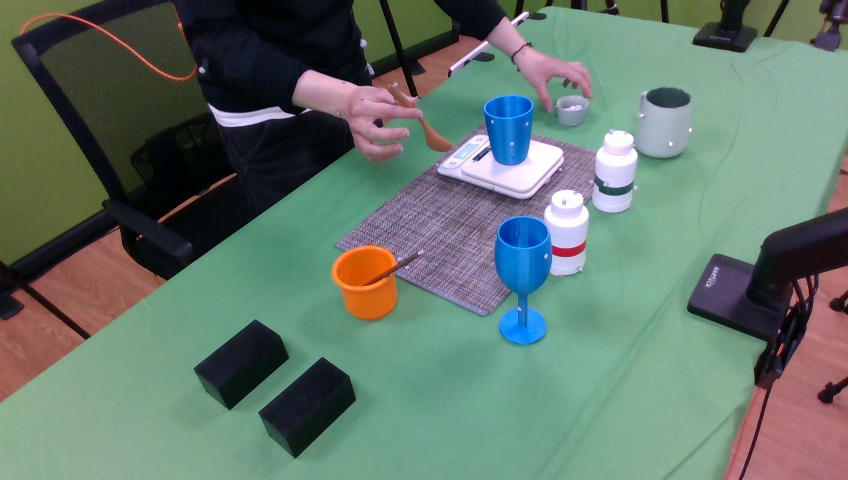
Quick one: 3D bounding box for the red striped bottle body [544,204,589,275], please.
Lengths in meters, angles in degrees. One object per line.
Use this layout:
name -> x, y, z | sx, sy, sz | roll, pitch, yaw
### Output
red striped bottle body -> 0.206, -0.011, 0.877 | 0.063, 0.120, 0.062 | -5, 41, 4

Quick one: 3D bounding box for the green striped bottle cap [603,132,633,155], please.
green striped bottle cap -> 0.301, -0.149, 0.938 | 0.044, 0.020, 0.044 | -3, 39, 3

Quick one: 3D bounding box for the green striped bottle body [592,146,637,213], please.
green striped bottle body -> 0.307, -0.108, 0.976 | 0.063, 0.120, 0.063 | -4, 41, 4

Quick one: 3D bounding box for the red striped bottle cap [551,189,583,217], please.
red striped bottle cap -> 0.199, -0.052, 0.843 | 0.044, 0.018, 0.044 | -2, 42, 2

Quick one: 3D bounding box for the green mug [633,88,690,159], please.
green mug -> 0.423, -0.217, 1.099 | 0.093, 0.105, 0.124 | -16, 41, -10

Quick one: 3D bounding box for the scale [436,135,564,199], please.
scale -> 0.137, -0.141, 1.101 | 0.199, 0.032, 0.149 | 22, 48, 30

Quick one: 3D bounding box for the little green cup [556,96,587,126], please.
little green cup -> 0.295, -0.258, 1.214 | 0.061, 0.039, 0.061 | -4, 42, 4

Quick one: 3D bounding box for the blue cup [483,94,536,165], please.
blue cup -> 0.148, -0.188, 1.053 | 0.092, 0.100, 0.092 | -5, 39, 5

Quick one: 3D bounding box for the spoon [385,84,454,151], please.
spoon -> -0.007, -0.176, 0.889 | 0.041, 0.195, 0.021 | 0, 68, 29

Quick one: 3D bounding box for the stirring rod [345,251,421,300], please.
stirring rod -> -0.060, 0.051, 0.829 | 0.175, 0.006, 0.014 | -32, 18, 44

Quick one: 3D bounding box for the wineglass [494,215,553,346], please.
wineglass -> 0.127, 0.055, 0.770 | 0.074, 0.173, 0.073 | -4, 40, 4
